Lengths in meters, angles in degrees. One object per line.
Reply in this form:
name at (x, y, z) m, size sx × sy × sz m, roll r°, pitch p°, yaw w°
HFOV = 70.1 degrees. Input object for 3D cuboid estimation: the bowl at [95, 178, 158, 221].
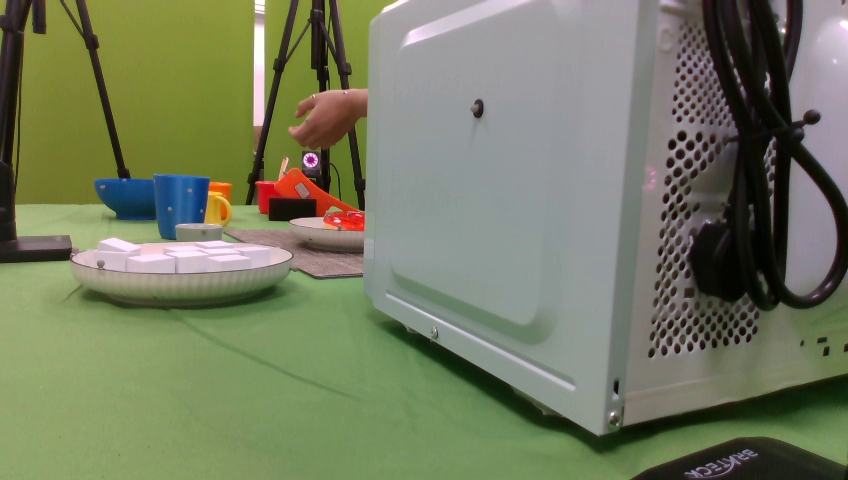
bowl at (-0.576, -0.081, 1.217) m, size 0.151 × 0.077 × 0.151 m, roll 3°, pitch 8°, yaw 0°

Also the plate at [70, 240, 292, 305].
plate at (-0.242, 0.031, 0.618) m, size 0.208 × 0.039 × 0.207 m, roll 2°, pitch 8°, yaw 0°

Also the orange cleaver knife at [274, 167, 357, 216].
orange cleaver knife at (-0.238, -0.090, 1.381) m, size 0.212 × 0.077 × 0.012 m, roll 31°, pitch 0°, yaw -19°

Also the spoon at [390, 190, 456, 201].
spoon at (0.004, -0.103, 1.337) m, size 0.195 × 0.021 × 0.041 m, roll -10°, pitch 3°, yaw -42°

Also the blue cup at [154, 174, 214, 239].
blue cup at (-0.391, -0.053, 0.978) m, size 0.093 × 0.100 × 0.092 m, roll 3°, pitch 6°, yaw 0°

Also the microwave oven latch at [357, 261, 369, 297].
microwave oven latch at (-0.019, 0.033, 0.530) m, size 0.079 × 0.029 × 0.030 m, roll -1°, pitch 7°, yaw -26°

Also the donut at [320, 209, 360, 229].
donut at (-0.115, -0.023, 0.961) m, size 0.099 × 0.048 × 0.099 m, roll 5°, pitch 9°, yaw 0°

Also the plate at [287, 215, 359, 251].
plate at (-0.111, -0.012, 0.960) m, size 0.209 × 0.038 × 0.209 m, roll 3°, pitch 8°, yaw 0°

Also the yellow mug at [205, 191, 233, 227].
yellow mug at (-0.415, -0.057, 1.132) m, size 0.130 × 0.064 × 0.100 m, roll 6°, pitch 8°, yaw 16°

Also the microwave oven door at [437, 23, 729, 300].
microwave oven door at (0.181, -0.072, 0.621) m, size 0.358 × 0.243 × 0.039 m, roll -2°, pitch 9°, yaw -29°

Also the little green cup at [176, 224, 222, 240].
little green cup at (-0.312, -0.001, 0.842) m, size 0.061 × 0.038 × 0.061 m, roll 2°, pitch 8°, yaw 0°

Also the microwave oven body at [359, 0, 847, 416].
microwave oven body at (0.211, -0.047, 0.474) m, size 0.444 × 0.260 × 0.324 m, roll -1°, pitch 7°, yaw -28°

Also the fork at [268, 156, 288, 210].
fork at (-0.360, -0.144, 1.508) m, size 0.028 × 0.018 × 0.207 m, roll 1°, pitch 49°, yaw 0°
